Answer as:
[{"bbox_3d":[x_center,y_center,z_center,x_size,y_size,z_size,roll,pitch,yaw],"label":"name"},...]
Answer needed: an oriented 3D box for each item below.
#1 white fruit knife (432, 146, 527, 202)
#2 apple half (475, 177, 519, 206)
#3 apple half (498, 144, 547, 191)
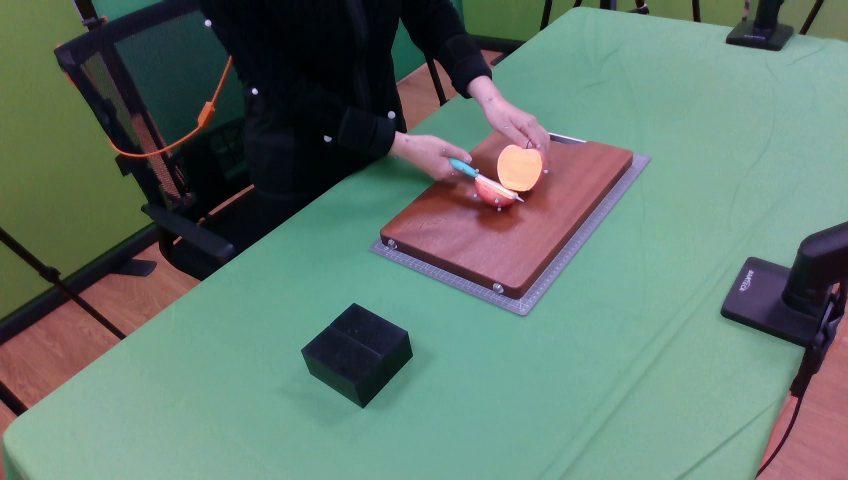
[{"bbox_3d":[0.088,-0.111,1.010,0.206,0.016,0.027,33,22,29],"label":"white fruit knife"},{"bbox_3d":[0.117,-0.074,0.992,0.081,0.033,0.081,22,17,-7],"label":"apple half"},{"bbox_3d":[0.169,-0.121,1.015,0.080,0.074,0.054,11,10,27],"label":"apple half"}]
